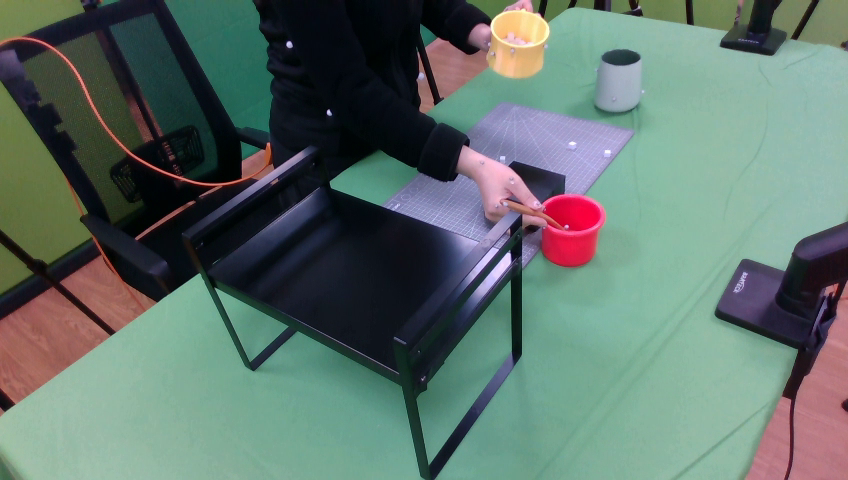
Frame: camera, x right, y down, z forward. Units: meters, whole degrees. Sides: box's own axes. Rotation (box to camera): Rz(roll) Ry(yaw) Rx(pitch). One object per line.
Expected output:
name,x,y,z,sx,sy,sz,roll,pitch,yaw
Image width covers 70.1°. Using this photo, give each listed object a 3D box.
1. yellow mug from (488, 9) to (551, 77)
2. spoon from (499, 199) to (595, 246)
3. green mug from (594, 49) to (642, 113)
yellow mug,0.166,-0.352,1.054,0.100,0.064,0.130,9,55,5
spoon,0.183,-0.028,0.888,0.195,0.021,0.041,23,26,-34
green mug,0.397,-0.333,1.240,0.092,0.105,0.125,-3,41,7
